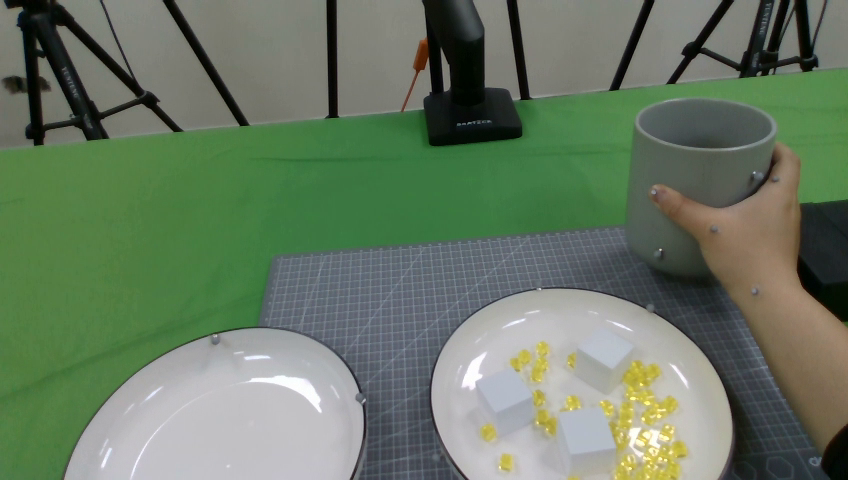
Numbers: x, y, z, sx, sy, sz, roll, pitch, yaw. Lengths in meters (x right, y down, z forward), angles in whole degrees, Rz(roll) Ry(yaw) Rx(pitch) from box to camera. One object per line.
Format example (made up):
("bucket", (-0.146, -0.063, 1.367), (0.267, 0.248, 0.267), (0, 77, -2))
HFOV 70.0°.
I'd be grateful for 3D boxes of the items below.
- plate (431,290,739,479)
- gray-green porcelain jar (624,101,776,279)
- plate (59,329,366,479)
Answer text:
("plate", (0.110, 0.121, 0.437), (0.207, 0.039, 0.205), (-3, 40, 3))
("gray-green porcelain jar", (0.227, -0.039, 0.513), (0.106, 0.127, 0.105), (-5, 34, 4))
("plate", (-0.142, 0.152, 0.427), (0.209, 0.038, 0.207), (-4, 40, 4))
